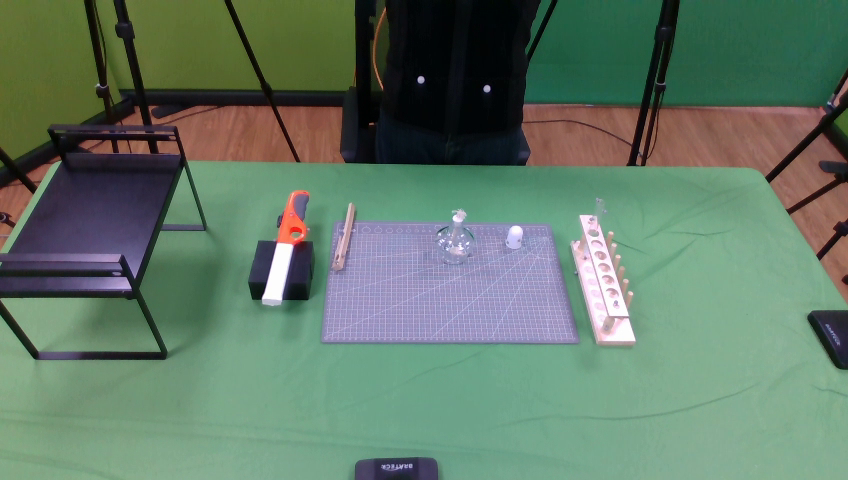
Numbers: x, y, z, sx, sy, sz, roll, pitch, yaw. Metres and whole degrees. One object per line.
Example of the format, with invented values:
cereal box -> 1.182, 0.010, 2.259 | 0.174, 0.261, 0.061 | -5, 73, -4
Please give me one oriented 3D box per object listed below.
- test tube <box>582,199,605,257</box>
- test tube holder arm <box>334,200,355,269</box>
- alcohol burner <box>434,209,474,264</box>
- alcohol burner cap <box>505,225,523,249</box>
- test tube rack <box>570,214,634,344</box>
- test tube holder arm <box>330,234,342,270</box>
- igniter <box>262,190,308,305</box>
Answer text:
test tube -> 0.314, -0.019, 1.129 | 0.017, 0.151, 0.017 | -1, 48, 1
test tube holder arm -> -0.155, -0.013, 1.191 | 0.013, 0.015, 0.177 | -15, 42, 23
alcohol burner -> 0.058, -0.012, 1.147 | 0.078, 0.119, 0.077 | 3, 44, -3
alcohol burner cap -> 0.180, -0.009, 1.203 | 0.034, 0.048, 0.033 | 2, 47, -2
test tube rack -> 0.333, 0.067, 1.116 | 0.067, 0.085, 0.241 | 1, 46, -3
test tube holder arm -> -0.164, 0.021, 1.163 | 0.010, 0.015, 0.087 | -15, 42, 23
igniter -> -0.252, 0.004, 1.107 | 0.057, 0.025, 0.275 | 7, 47, -6
